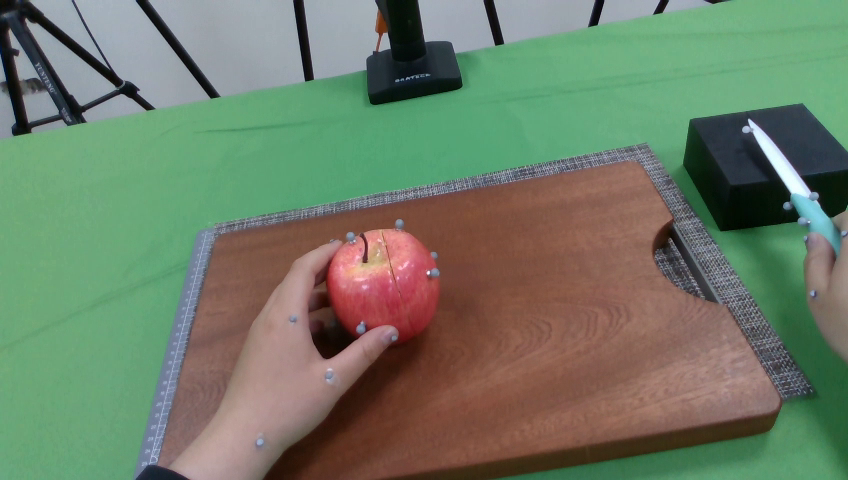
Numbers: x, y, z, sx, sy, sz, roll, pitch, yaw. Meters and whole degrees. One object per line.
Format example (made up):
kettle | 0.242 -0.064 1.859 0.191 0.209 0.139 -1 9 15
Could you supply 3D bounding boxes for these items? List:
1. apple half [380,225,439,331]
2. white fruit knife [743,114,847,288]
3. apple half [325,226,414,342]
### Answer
apple half | -0.005 0.025 0.439 0.033 0.082 0.080 -19 43 -1
white fruit knife | 0.287 -0.029 0.454 0.027 0.016 0.205 7 48 -17
apple half | -0.042 0.037 0.437 0.053 0.075 0.080 -19 47 -1
